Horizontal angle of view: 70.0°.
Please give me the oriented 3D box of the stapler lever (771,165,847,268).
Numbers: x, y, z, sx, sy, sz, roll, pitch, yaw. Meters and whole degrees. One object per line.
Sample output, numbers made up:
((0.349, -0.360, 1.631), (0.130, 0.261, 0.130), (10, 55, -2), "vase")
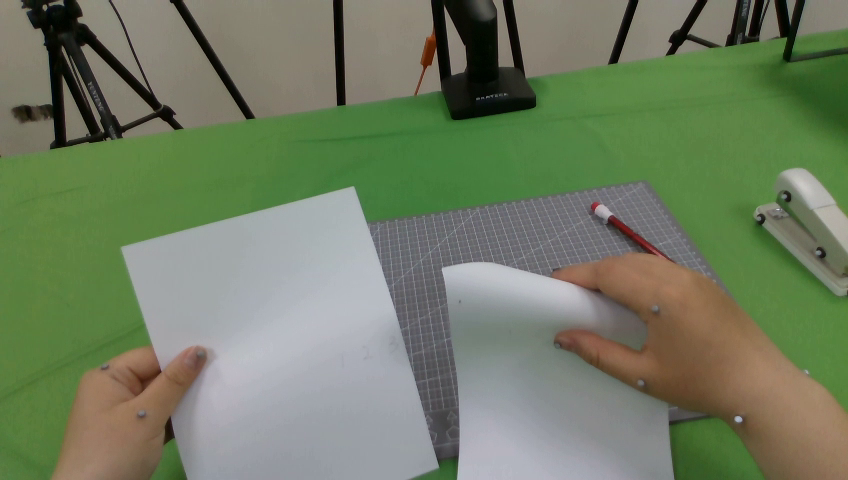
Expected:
((0.355, -0.024, 0.538), (0.027, 0.040, 0.116), (-14, 41, -3), "stapler lever")

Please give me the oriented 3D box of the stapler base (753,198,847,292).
((0.357, -0.005, 0.555), (0.041, 0.025, 0.129), (-14, 41, -3), "stapler base")

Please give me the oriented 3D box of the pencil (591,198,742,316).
((0.219, 0.011, 0.564), (0.012, 0.012, 0.192), (-21, 41, -16), "pencil")
